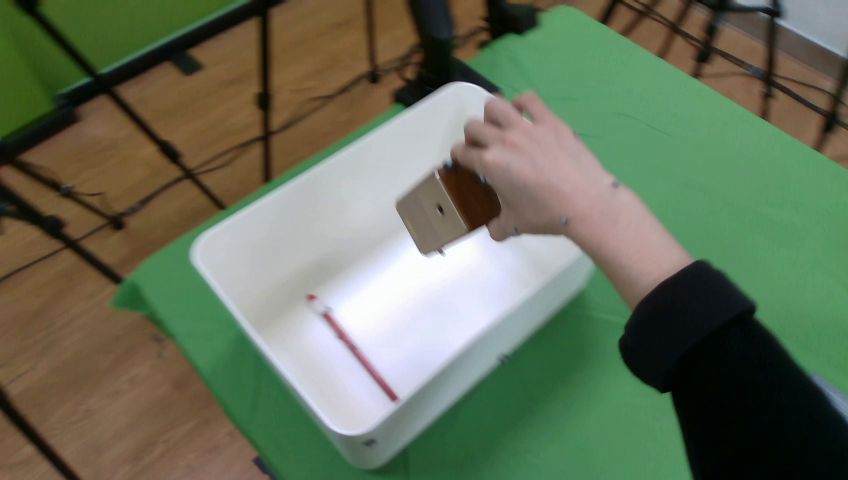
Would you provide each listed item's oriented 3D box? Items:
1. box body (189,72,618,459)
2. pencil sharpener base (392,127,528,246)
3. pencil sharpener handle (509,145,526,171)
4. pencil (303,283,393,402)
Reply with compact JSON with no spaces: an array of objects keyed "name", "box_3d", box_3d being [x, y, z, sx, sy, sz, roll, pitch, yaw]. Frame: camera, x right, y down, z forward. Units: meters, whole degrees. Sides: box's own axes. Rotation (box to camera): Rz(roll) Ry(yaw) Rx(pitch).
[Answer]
[{"name":"box body","box_3d":[-0.013,0.020,0.649,0.364,0.162,0.252,-38,64,-22]},{"name":"pencil sharpener base","box_3d":[0.030,-0.045,0.526,0.077,0.107,0.061,-27,90,-25]},{"name":"pencil sharpener handle","box_3d":[0.076,-0.067,0.537,0.031,0.068,0.036,-27,85,-25]},{"name":"pencil","box_3d":[-0.079,0.119,0.666,0.012,0.012,0.192,-33,65,-20]}]
